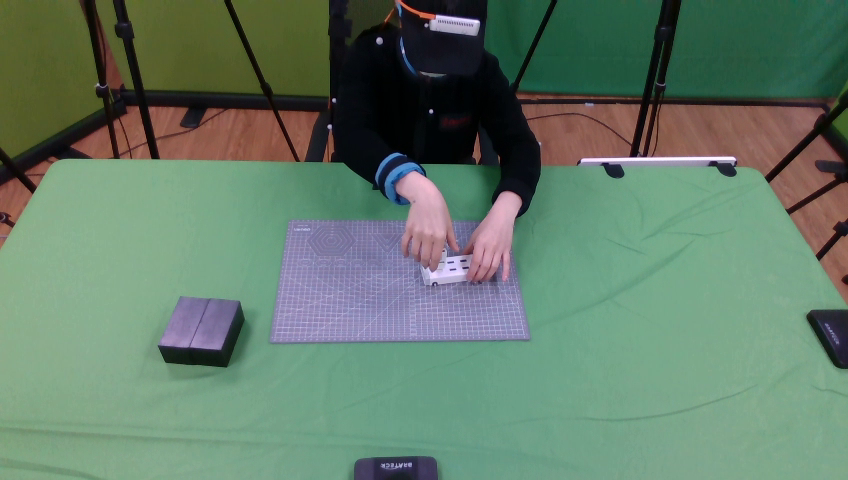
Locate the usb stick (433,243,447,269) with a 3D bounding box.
[{"bbox_3d":[0.029,0.034,1.116,0.021,0.059,0.027,-8,50,-10],"label":"usb stick"}]

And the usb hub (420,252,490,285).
[{"bbox_3d":[0.058,0.055,1.142,0.125,0.025,0.049,-7,48,-10],"label":"usb hub"}]
